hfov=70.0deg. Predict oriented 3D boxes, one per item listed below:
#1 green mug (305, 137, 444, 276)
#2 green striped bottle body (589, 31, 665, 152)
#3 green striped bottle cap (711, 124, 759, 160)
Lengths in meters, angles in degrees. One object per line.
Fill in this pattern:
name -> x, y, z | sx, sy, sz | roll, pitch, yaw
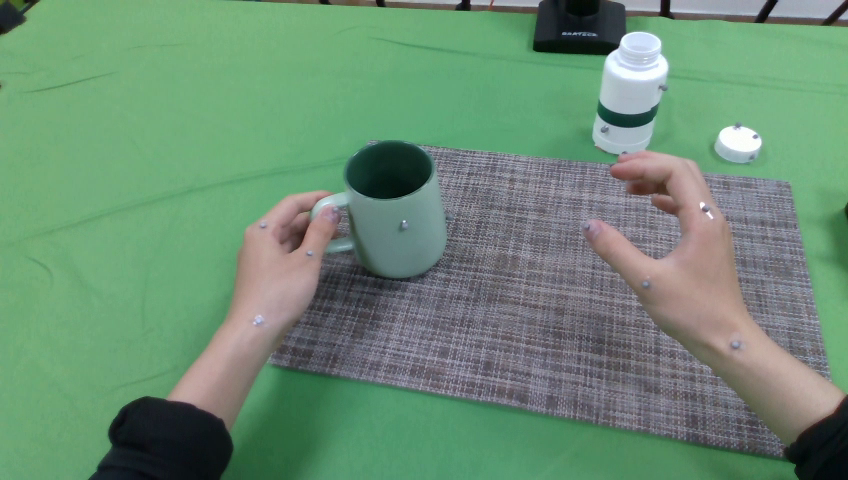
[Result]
green mug -> -0.045, -0.023, 0.548 | 0.125, 0.106, 0.091 | -17, 50, -10
green striped bottle body -> 0.214, -0.157, 0.638 | 0.063, 0.120, 0.062 | -2, 49, 3
green striped bottle cap -> 0.335, -0.105, 0.653 | 0.044, 0.020, 0.044 | -2, 45, 2
